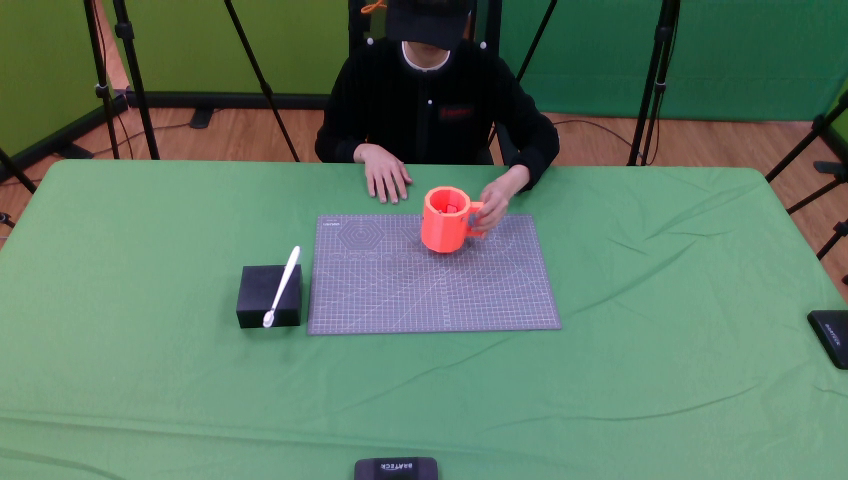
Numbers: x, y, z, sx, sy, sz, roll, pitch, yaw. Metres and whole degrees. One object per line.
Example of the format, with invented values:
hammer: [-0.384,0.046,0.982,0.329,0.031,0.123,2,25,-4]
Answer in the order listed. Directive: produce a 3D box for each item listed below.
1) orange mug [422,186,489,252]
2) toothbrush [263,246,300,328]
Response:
orange mug: [0.059,-0.041,1.151,0.126,0.101,0.083,-4,45,-4]
toothbrush: [-0.244,0.074,1.042,0.014,0.017,0.181,5,45,6]
